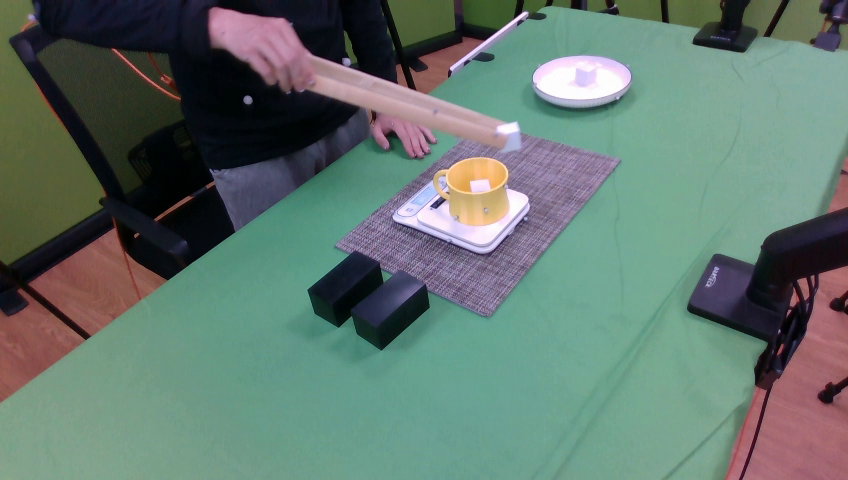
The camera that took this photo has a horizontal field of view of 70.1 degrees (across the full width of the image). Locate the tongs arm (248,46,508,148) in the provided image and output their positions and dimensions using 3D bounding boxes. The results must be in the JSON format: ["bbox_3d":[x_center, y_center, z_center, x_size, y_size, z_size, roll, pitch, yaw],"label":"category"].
[{"bbox_3d":[-0.062,-0.204,0.876,0.386,0.026,0.050,14,37,-12],"label":"tongs arm"}]

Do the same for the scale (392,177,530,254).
[{"bbox_3d":[0.060,-0.050,1.006,0.199,0.032,0.149,22,48,30],"label":"scale"}]

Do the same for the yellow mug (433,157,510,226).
[{"bbox_3d":[0.072,-0.082,0.968,0.130,0.064,0.100,13,46,24],"label":"yellow mug"}]

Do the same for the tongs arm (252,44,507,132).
[{"bbox_3d":[-0.061,-0.218,0.894,0.389,0.028,0.028,16,40,-9],"label":"tongs arm"}]

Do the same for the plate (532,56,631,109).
[{"bbox_3d":[0.335,-0.335,1.301,0.207,0.039,0.206,-4,41,4],"label":"plate"}]
